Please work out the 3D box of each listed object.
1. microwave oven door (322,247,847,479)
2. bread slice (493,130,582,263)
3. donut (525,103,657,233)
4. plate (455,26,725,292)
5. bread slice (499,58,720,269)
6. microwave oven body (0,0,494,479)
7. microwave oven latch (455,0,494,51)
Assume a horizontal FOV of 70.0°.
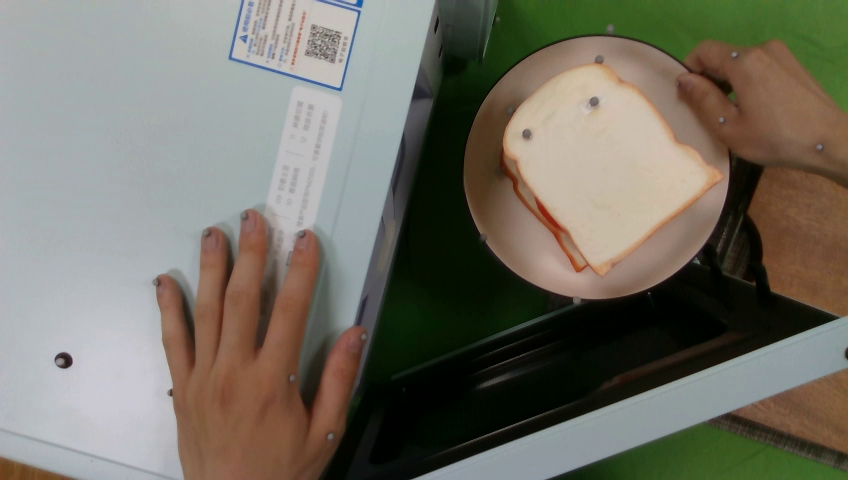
[{"bbox_3d":[0.095,0.105,0.479,0.356,0.243,0.039,-23,95,6],"label":"microwave oven door"},{"bbox_3d":[0.120,-0.060,0.496,0.105,0.019,0.131,-38,92,4],"label":"bread slice"},{"bbox_3d":[0.126,-0.055,0.463,0.098,0.048,0.099,2,95,20],"label":"donut"},{"bbox_3d":[0.129,-0.063,0.491,0.207,0.039,0.207,0,93,5],"label":"plate"},{"bbox_3d":[0.120,-0.060,0.434,0.107,0.018,0.134,-43,82,6],"label":"bread slice"},{"bbox_3d":[-0.146,-0.072,0.474,0.326,0.259,0.442,15,98,1],"label":"microwave oven body"},{"bbox_3d":[0.049,-0.213,0.542,0.030,0.029,0.079,16,99,1],"label":"microwave oven latch"}]
